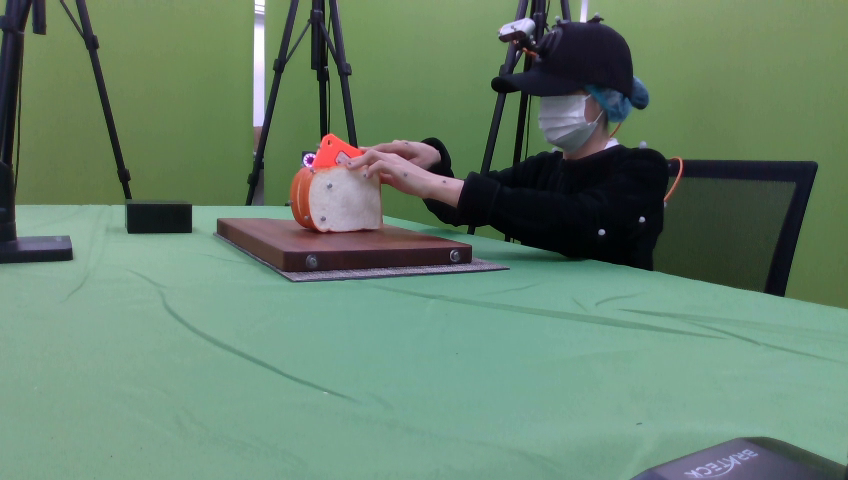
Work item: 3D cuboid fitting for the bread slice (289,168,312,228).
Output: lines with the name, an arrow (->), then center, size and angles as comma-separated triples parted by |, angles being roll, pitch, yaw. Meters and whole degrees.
bread slice -> -0.153, -0.069, 0.963 | 0.132, 0.105, 0.019 | -4, 6, -39

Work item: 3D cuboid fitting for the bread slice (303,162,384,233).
bread slice -> -0.121, -0.060, 0.923 | 0.135, 0.107, 0.018 | -12, 10, -39

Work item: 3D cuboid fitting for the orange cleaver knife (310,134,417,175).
orange cleaver knife -> -0.095, -0.118, 1.001 | 0.212, 0.077, 0.012 | 10, 1, -44
